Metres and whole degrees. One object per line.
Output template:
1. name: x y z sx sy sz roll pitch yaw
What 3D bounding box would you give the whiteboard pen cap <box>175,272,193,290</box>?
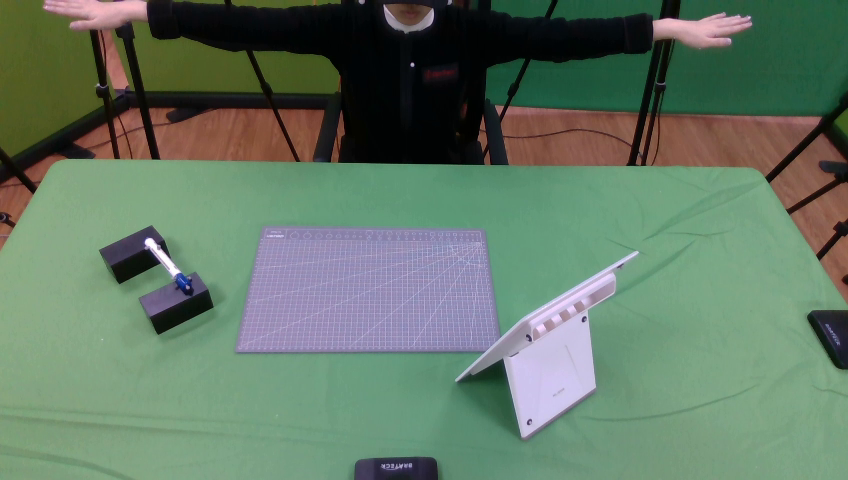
1. whiteboard pen cap: -0.409 0.069 1.032 0.018 0.018 0.033 -32 56 -29

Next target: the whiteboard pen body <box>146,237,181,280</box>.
1. whiteboard pen body: -0.449 0.038 1.061 0.017 0.017 0.140 -32 57 -29

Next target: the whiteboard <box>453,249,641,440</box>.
1. whiteboard: 0.206 0.174 0.890 0.217 0.306 0.143 -25 72 -25
